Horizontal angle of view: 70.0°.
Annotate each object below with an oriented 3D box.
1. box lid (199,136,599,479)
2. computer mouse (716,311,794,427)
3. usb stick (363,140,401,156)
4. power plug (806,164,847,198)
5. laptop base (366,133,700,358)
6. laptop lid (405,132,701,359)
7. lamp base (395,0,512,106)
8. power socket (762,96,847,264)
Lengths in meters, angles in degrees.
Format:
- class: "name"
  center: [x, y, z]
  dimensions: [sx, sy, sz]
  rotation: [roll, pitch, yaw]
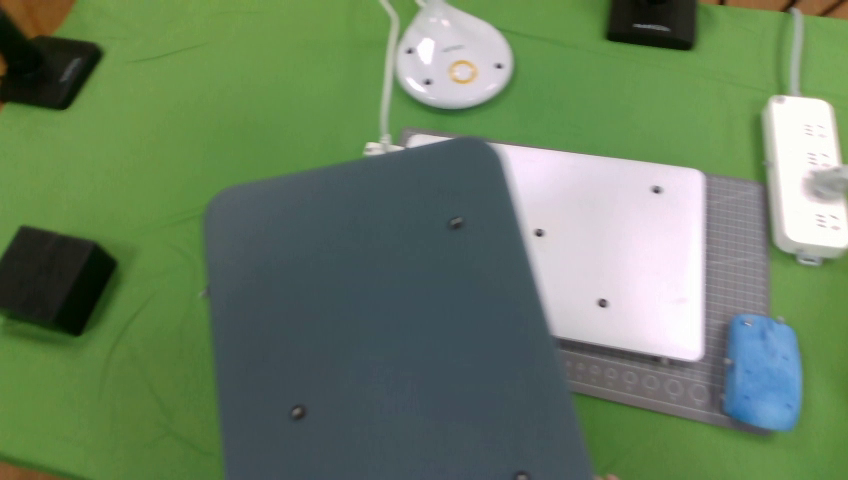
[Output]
- class: "box lid"
  center: [-0.027, 0.096, 0.469]
  dimensions: [0.263, 0.015, 0.368]
  rotation: [-13, 70, -4]
- class: "computer mouse"
  center: [0.329, 0.124, 0.601]
  dimensions: [0.062, 0.041, 0.116]
  rotation: [13, 60, 13]
- class: "usb stick"
  center: [-0.044, -0.104, 0.748]
  dimensions: [0.059, 0.027, 0.021]
  rotation: [13, 59, 8]
- class: "power plug"
  center: [0.462, -0.057, 0.668]
  dimensions: [0.072, 0.053, 0.035]
  rotation: [19, 64, 12]
- class: "laptop base"
  center: [0.129, -0.003, 0.696]
  dimensions: [0.353, 0.023, 0.234]
  rotation: [9, 66, 8]
- class: "laptop lid"
  center: [0.128, -0.007, 0.685]
  dimensions: [0.356, 0.013, 0.240]
  rotation: [10, 66, 10]
- class: "lamp base"
  center: [0.029, -0.293, 0.767]
  dimensions: [0.161, 0.182, 0.177]
  rotation: [-24, 60, -9]
- class: "power socket"
  center: [0.441, -0.079, 0.708]
  dimensions: [0.072, 0.033, 0.225]
  rotation: [9, 63, 7]
